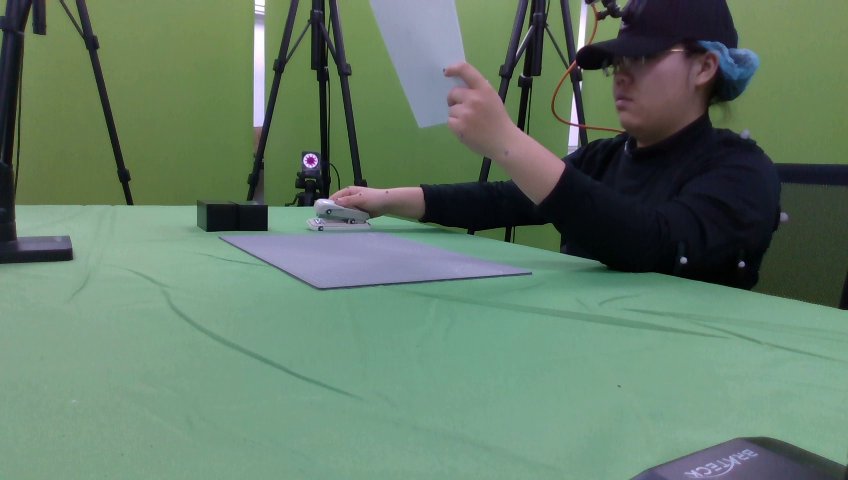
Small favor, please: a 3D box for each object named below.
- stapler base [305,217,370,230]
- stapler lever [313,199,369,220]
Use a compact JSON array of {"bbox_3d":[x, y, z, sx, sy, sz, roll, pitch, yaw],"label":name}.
[{"bbox_3d":[-0.171,-0.039,1.210,0.131,0.024,0.041,1,29,-35],"label":"stapler base"},{"bbox_3d":[-0.164,-0.060,1.202,0.119,0.040,0.026,-1,29,-34],"label":"stapler lever"}]
